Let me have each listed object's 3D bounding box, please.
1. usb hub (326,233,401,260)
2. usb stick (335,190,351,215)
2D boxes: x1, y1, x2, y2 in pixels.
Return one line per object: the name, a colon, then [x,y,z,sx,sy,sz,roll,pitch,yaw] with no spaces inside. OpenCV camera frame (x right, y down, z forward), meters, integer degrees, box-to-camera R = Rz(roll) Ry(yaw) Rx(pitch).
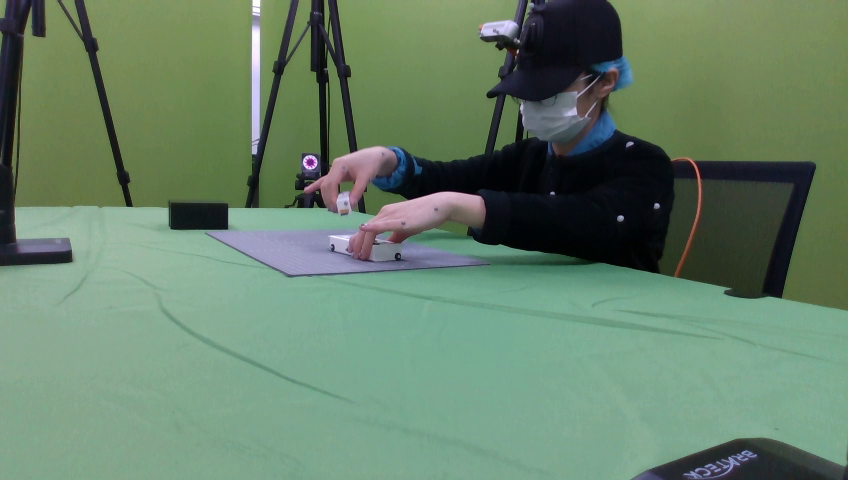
usb hub: [-0.092,0.008,0.892,0.050,0.025,0.124,-5,10,-41]
usb stick: [-0.131,-0.060,0.982,0.021,0.027,0.059,-10,27,1]
